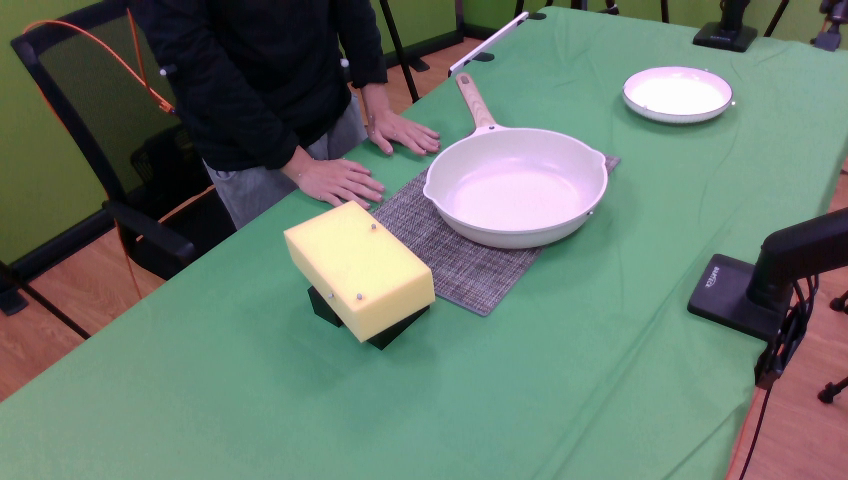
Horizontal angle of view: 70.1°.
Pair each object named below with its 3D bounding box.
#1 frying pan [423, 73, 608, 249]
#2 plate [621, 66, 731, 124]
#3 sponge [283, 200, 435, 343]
[{"bbox_3d":[0.129,-0.160,1.069,0.307,0.103,0.484,-11,49,-6],"label":"frying pan"},{"bbox_3d":[0.504,-0.288,1.221,0.207,0.039,0.206,-4,41,4],"label":"plate"},{"bbox_3d":[-0.093,0.036,0.835,0.119,0.061,0.205,-29,45,-23],"label":"sponge"}]
